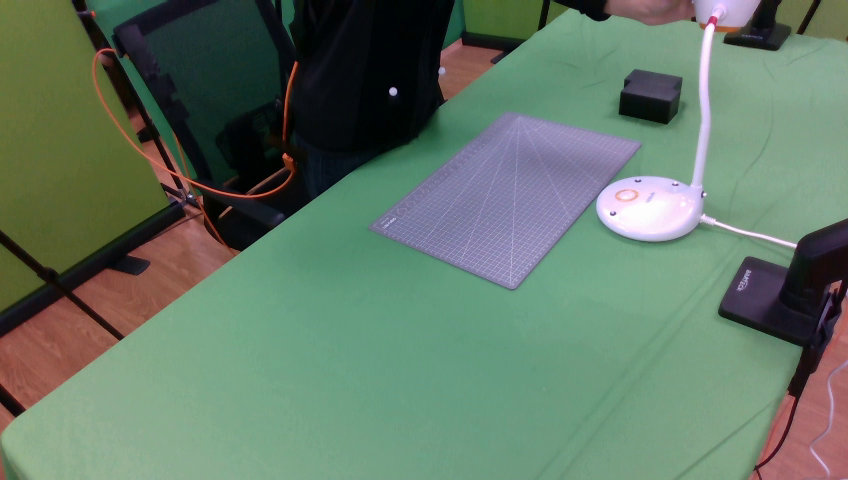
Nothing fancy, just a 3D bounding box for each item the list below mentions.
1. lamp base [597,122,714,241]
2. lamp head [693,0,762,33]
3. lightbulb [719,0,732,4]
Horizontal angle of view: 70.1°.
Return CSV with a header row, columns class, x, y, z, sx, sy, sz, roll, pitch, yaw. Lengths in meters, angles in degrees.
class,x,y,z,sx,sy,sz,roll,pitch,yaw
lamp base,0.364,-0.109,0.921,0.178,0.181,0.160,13,45,21
lamp head,0.439,-0.362,0.870,0.112,0.123,0.112,2,28,0
lightbulb,0.439,-0.393,0.861,0.059,0.108,0.059,-2,30,1
